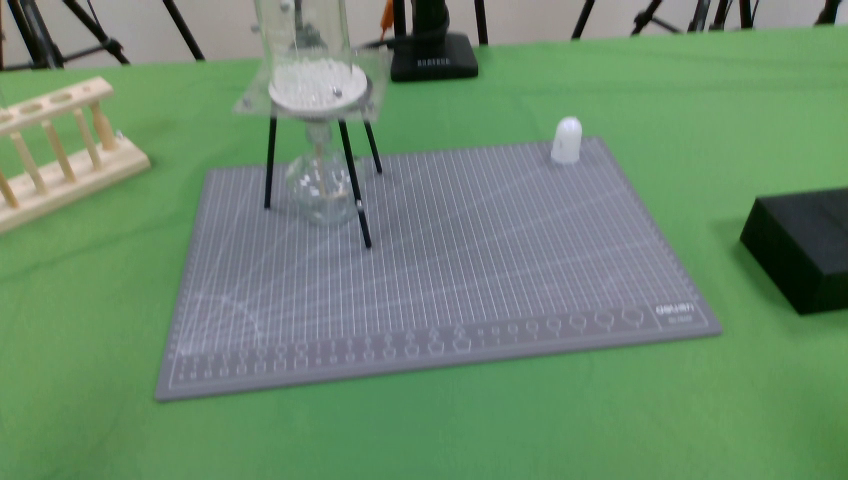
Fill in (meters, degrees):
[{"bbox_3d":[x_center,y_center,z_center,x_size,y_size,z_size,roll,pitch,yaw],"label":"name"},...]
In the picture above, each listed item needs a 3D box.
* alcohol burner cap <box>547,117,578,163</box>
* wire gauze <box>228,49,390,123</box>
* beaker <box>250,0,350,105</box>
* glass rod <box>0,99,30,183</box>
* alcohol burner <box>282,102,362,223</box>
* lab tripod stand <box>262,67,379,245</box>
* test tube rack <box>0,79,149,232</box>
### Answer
[{"bbox_3d":[0.155,-0.113,0.671,0.034,0.048,0.033,0,42,1],"label":"alcohol burner cap"},{"bbox_3d":[-0.097,-0.138,0.535,0.125,0.011,0.120,1,41,7],"label":"wire gauze"},{"bbox_3d":[-0.102,-0.169,0.497,0.084,0.101,0.073,6,43,8],"label":"beaker"},{"bbox_3d":[-0.415,-0.143,0.585,0.008,0.201,0.008,2,35,-1],"label":"glass rod"},{"bbox_3d":[-0.099,-0.076,0.579,0.078,0.120,0.077,-1,40,1],"label":"alcohol burner"},{"bbox_3d":[-0.093,-0.083,0.572,0.148,0.133,0.147,-1,44,1],"label":"lab tripod stand"},{"bbox_3d":[-0.416,-0.071,0.603,0.242,0.086,0.066,-34,51,-31],"label":"test tube rack"}]
